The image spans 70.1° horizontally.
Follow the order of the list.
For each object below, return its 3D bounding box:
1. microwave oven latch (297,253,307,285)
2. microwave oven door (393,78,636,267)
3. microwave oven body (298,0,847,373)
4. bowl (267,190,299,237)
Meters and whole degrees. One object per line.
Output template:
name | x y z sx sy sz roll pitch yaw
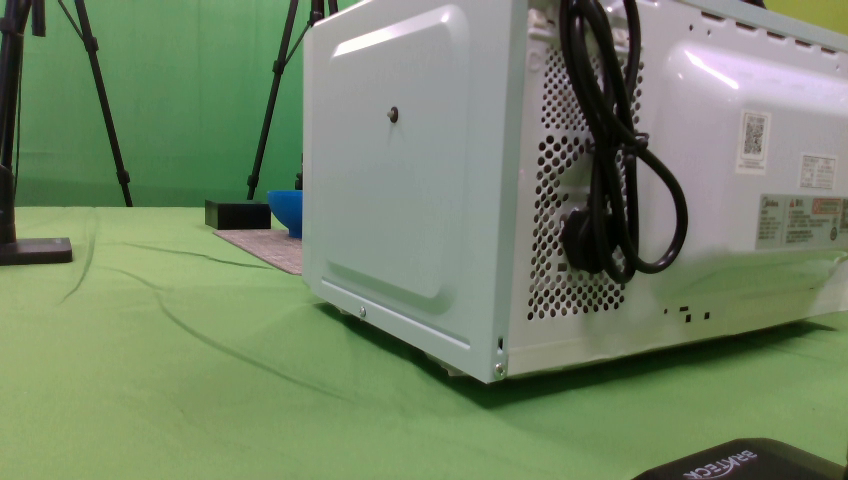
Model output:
microwave oven latch | -0.082 0.027 0.583 0.079 0.029 0.030 -1 7 -33
microwave oven door | 0.112 -0.103 0.868 0.354 0.243 0.039 7 9 32
microwave oven body | 0.151 -0.055 0.543 0.444 0.260 0.324 -1 7 -33
bowl | -0.202 -0.046 1.070 0.151 0.077 0.151 3 7 0
